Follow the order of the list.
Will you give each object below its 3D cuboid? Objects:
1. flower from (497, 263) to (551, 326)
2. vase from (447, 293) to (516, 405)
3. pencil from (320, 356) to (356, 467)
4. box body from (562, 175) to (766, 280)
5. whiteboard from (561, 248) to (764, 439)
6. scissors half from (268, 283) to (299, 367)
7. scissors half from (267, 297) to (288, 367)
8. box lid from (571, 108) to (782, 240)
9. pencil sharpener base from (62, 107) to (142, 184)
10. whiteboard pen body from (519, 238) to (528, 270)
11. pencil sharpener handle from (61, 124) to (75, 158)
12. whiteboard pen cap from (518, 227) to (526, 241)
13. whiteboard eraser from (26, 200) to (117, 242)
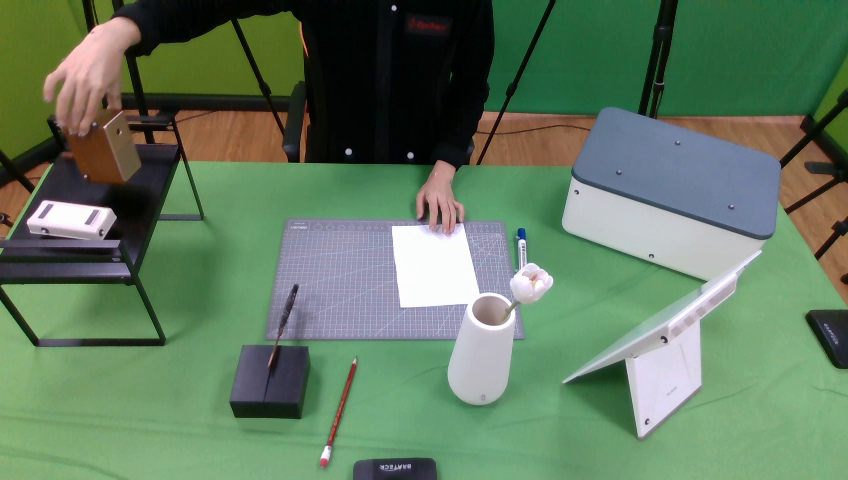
[{"bbox_3d":[0.102,0.121,0.853,0.044,0.363,0.038,-1,64,-9],"label":"flower"},{"bbox_3d":[0.091,0.169,0.921,0.098,0.201,0.097,3,47,-3],"label":"vase"},{"bbox_3d":[-0.130,0.261,0.946,0.012,0.012,0.193,9,45,5],"label":"pencil"},{"bbox_3d":[0.486,-0.088,1.222,0.363,0.161,0.253,20,48,15],"label":"box body"},{"bbox_3d":[0.386,0.176,0.905,0.217,0.306,0.143,-26,72,-27],"label":"whiteboard"},{"bbox_3d":[-0.230,0.135,0.986,0.013,0.040,0.174,19,43,-10],"label":"scissors half"},{"bbox_3d":[-0.239,0.150,0.997,0.013,0.040,0.174,24,24,-13],"label":"scissors half"},{"bbox_3d":[0.491,-0.139,1.168,0.370,0.015,0.262,21,49,15],"label":"box lid"},{"bbox_3d":[-0.505,-0.148,0.952,0.076,0.107,0.061,4,38,6],"label":"pencil sharpener base"},{"bbox_3d":[0.193,0.035,1.181,0.017,0.017,0.140,6,48,1],"label":"whiteboard pen body"},{"bbox_3d":[-0.556,-0.160,0.946,0.030,0.068,0.036,4,27,6],"label":"pencil sharpener handle"},{"bbox_3d":[0.197,-0.009,1.220,0.018,0.018,0.033,5,50,1],"label":"whiteboard pen cap"},{"bbox_3d":[-0.532,-0.026,0.919,0.113,0.042,0.055,7,45,3],"label":"whiteboard eraser"}]
